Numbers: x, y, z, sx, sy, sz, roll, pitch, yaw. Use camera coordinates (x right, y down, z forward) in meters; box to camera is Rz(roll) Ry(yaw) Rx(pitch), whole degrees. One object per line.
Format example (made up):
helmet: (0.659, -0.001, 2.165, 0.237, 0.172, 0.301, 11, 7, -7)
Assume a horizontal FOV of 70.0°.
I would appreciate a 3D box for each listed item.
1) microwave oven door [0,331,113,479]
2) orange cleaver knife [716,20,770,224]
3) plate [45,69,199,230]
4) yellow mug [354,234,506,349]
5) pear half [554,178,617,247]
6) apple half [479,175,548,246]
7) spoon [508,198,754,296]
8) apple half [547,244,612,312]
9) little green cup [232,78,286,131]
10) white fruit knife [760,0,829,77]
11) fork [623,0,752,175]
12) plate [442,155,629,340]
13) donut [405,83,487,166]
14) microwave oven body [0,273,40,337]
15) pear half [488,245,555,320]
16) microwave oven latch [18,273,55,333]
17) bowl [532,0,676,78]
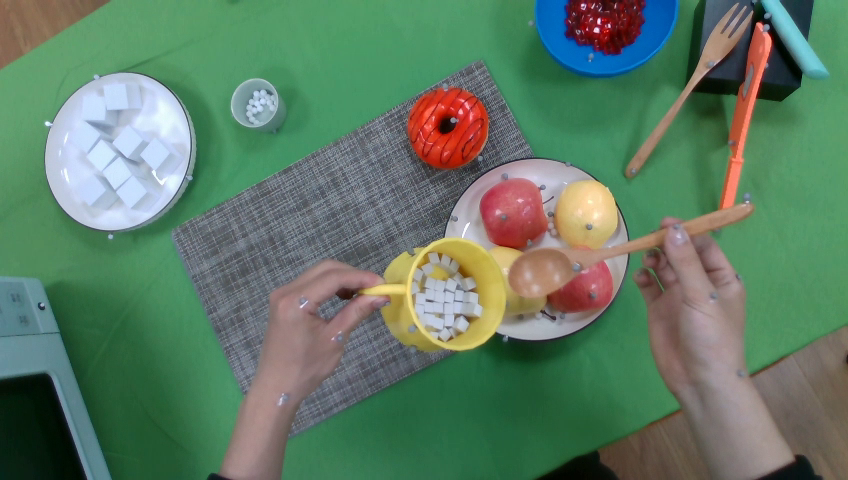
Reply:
microwave oven door: (-0.427, 0.271, 0.638, 0.039, 0.244, 0.354, -25, 82, 6)
orange cleaver knife: (0.338, -0.123, 0.649, 0.012, 0.077, 0.212, 9, 112, 15)
plate: (-0.384, -0.115, 0.784, 0.207, 0.039, 0.207, -1, 85, 9)
yellow mug: (0.001, 0.048, 0.545, 0.131, 0.064, 0.099, 4, 79, -25)
pear half: (0.175, -0.025, 0.672, 0.070, 0.031, 0.088, 3, 96, 33)
apple half: (0.099, -0.033, 0.681, 0.074, 0.053, 0.080, -10, 87, 8)
spoon: (0.160, 0.005, 0.481, 0.193, 0.021, 0.041, -18, 91, 19)
apple half: (0.163, 0.043, 0.665, 0.081, 0.033, 0.081, 2, 94, 32)
little green cup: (-0.204, -0.167, 0.760, 0.061, 0.039, 0.061, -1, 85, 9)
white fruit knife: (0.363, -0.260, 0.640, 0.027, 0.016, 0.206, -22, 79, -23)
fork: (0.279, -0.158, 0.658, 0.028, 0.018, 0.208, 30, 111, 0)
plate: (0.125, 0.008, 0.691, 0.209, 0.038, 0.208, -1, 85, 9)
donut: (0.026, -0.136, 0.714, 0.099, 0.048, 0.099, -1, 87, 11)
microwave oven body: (-0.575, 0.295, 0.665, 0.326, 0.261, 0.440, -25, 83, 6)
pear half: (0.104, 0.054, 0.676, 0.109, 0.056, 0.076, 36, 96, 6)
microwave oven latch: (-0.498, 0.081, 0.767, 0.030, 0.029, 0.079, -23, 83, 6)
bowl: (0.197, -0.248, 0.683, 0.151, 0.077, 0.151, -1, 86, 9)
